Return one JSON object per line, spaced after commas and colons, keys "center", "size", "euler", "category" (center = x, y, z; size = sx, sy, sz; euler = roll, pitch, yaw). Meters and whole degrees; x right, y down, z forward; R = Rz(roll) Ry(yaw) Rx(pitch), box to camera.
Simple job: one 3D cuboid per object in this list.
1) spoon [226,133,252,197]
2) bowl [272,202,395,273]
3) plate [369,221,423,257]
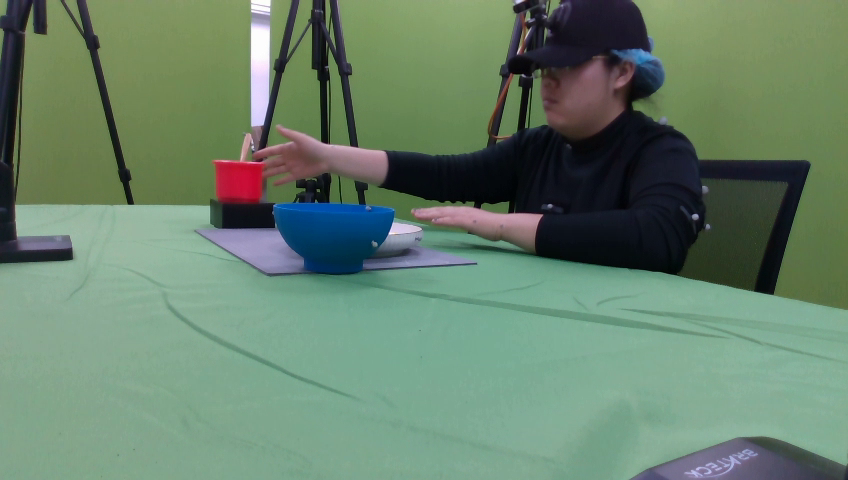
{"center": [-0.356, -0.150, 1.189], "size": [0.042, 0.021, 0.193], "euler": [0, 51, -3], "category": "spoon"}
{"center": [-0.112, -0.003, 0.751], "size": [0.151, 0.077, 0.151], "euler": [3, 7, 0], "category": "bowl"}
{"center": [-0.105, -0.004, 0.922], "size": [0.208, 0.039, 0.207], "euler": [3, 7, 0], "category": "plate"}
